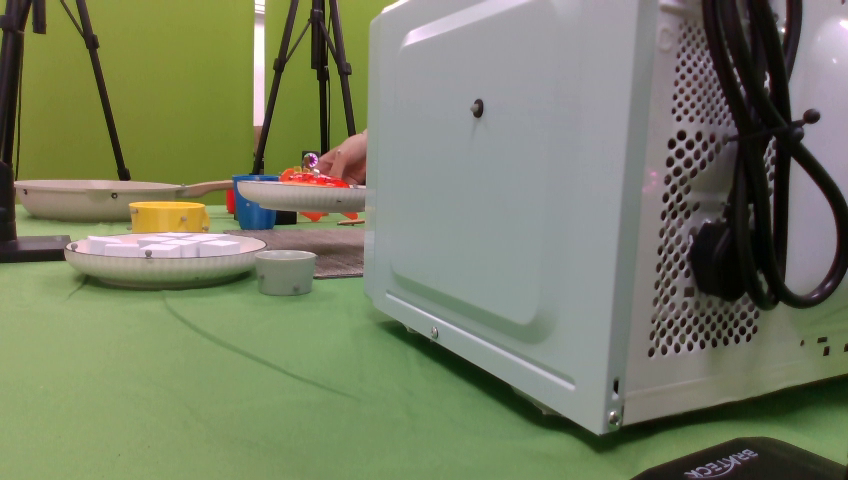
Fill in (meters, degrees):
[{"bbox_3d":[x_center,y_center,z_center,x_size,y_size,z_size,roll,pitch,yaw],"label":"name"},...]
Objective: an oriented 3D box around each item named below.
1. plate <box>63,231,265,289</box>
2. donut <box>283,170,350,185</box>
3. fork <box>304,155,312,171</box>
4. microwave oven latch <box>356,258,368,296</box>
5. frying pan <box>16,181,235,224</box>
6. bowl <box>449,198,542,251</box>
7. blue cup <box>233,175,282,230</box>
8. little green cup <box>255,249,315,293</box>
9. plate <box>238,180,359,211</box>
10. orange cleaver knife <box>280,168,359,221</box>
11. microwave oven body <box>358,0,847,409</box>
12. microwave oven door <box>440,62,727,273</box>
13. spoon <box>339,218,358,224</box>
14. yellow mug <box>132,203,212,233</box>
[{"bbox_3d":[-0.288,0.021,0.687,0.208,0.039,0.207,2,8,0],"label":"plate"},{"bbox_3d":[-0.156,-0.077,0.880,0.099,0.048,0.099,5,4,0],"label":"donut"},{"bbox_3d":[-0.268,-0.134,1.447,0.028,0.018,0.207,2,-36,-1],"label":"fork"},{"bbox_3d":[-0.019,0.031,0.528,0.079,0.029,0.030,-1,7,-24],"label":"microwave oven latch"},{"bbox_3d":[-0.553,-0.097,1.266,0.490,0.102,0.305,-10,13,-24],"label":"frying pan"},{"bbox_3d":[0.114,-0.026,0.986,0.151,0.077,0.151,2,7,0],"label":"bowl"},{"bbox_3d":[-0.314,-0.071,1.141,0.093,0.100,0.092,0,7,0],"label":"blue cup"},{"bbox_3d":[-0.144,0.031,0.627,0.061,0.038,0.061,2,6,0],"label":"little green cup"},{"bbox_3d":[-0.160,-0.065,0.873,0.209,0.038,0.209,2,6,0],"label":"plate"},{"bbox_3d":[-0.236,-0.084,1.333,0.212,0.077,0.012,31,-9,-31],"label":"orange cleaver knife"},{"bbox_3d":[0.210,-0.051,0.472,0.444,0.260,0.324,-1,7,-28],"label":"microwave oven body"},{"bbox_3d":[0.187,-0.097,0.784,0.354,0.243,0.039,6,8,30],"label":"microwave oven door"},{"bbox_3d":[-0.087,-0.041,1.268,0.193,0.021,0.041,3,18,14],"label":"spoon"},{"bbox_3d":[-0.356,-0.020,0.878,0.099,0.064,0.131,4,7,22],"label":"yellow mug"}]
